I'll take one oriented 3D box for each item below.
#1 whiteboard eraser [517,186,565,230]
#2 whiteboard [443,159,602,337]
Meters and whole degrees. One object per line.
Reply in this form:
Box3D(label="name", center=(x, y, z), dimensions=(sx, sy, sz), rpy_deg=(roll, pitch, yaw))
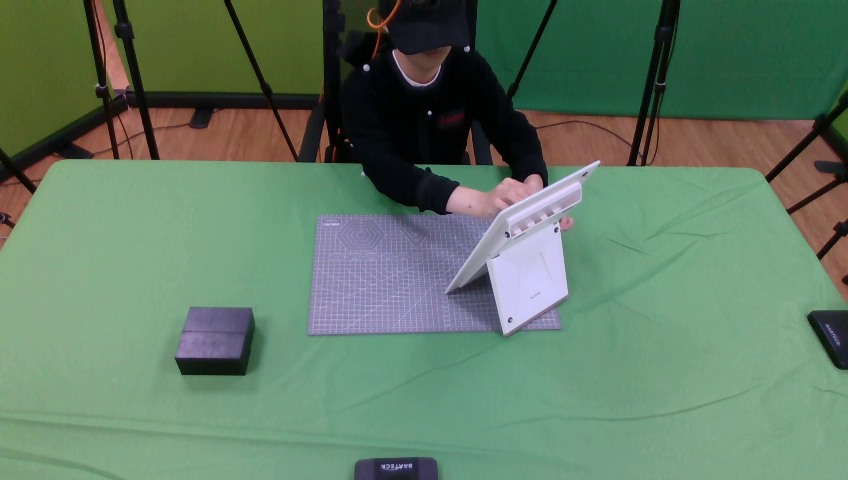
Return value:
Box3D(label="whiteboard eraser", center=(0.201, -0.055, 1.043), dimensions=(0.019, 0.101, 0.041), rpy_deg=(54, 31, 15))
Box3D(label="whiteboard", center=(0.193, 0.037, 1.018), dimensions=(0.217, 0.306, 0.143), rpy_deg=(-26, 72, -26))
